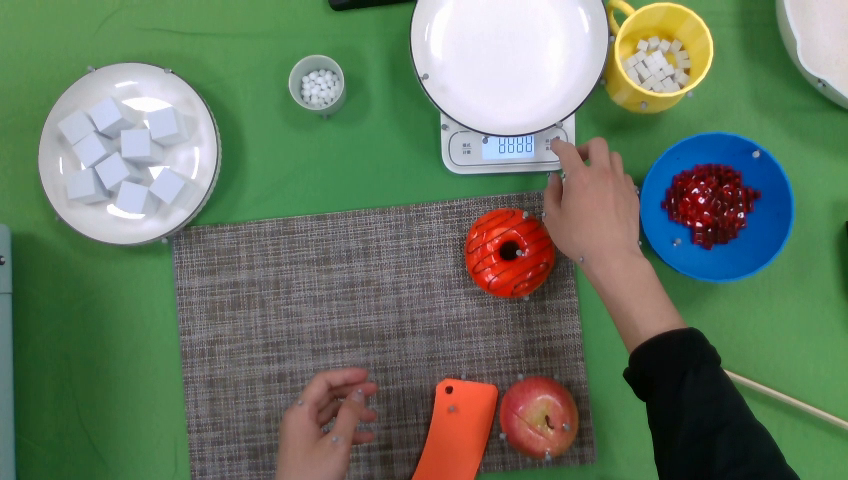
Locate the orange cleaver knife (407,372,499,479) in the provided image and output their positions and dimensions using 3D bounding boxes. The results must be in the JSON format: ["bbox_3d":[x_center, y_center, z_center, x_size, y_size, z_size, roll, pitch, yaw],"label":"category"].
[{"bbox_3d":[0.017,0.241,0.659,0.077,0.012,0.211,23,86,-2],"label":"orange cleaver knife"}]

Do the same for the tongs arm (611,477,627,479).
[{"bbox_3d":[0.395,0.267,0.637,0.385,0.026,0.050,9,84,2],"label":"tongs arm"}]

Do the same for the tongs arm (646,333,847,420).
[{"bbox_3d":[0.417,0.183,0.643,0.387,0.028,0.028,24,81,3],"label":"tongs arm"}]

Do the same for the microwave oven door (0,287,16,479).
[{"bbox_3d":[-0.479,0.223,0.560,0.039,0.244,0.355,-4,87,3],"label":"microwave oven door"}]

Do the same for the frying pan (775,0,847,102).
[{"bbox_3d":[0.563,-0.180,0.612,0.307,0.103,0.485,-33,78,2],"label":"frying pan"}]

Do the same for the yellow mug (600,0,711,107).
[{"bbox_3d":[0.235,-0.212,0.649,0.100,0.064,0.130,-39,85,2],"label":"yellow mug"}]

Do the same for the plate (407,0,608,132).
[{"bbox_3d":[0.087,-0.216,0.642,0.209,0.038,0.209,0,87,2],"label":"plate"}]

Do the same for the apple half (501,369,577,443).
[{"bbox_3d":[0.126,0.164,0.631,0.080,0.075,0.053,36,86,8],"label":"apple half"}]

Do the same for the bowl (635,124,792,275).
[{"bbox_3d":[0.288,-0.038,0.634,0.151,0.077,0.151,0,88,3],"label":"bowl"}]

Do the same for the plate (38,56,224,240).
[{"bbox_3d":[-0.326,-0.102,0.687,0.207,0.039,0.207,0,87,3],"label":"plate"}]

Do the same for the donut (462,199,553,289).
[{"bbox_3d":[0.089,0.005,0.654,0.099,0.048,0.099,0,88,5],"label":"donut"}]

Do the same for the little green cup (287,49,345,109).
[{"bbox_3d":[-0.118,-0.177,0.680,0.061,0.039,0.061,0,87,4],"label":"little green cup"}]

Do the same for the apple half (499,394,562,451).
[{"bbox_3d":[0.103,0.195,0.630,0.081,0.081,0.033,38,85,4],"label":"apple half"}]

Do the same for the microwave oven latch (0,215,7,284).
[{"bbox_3d":[-0.484,0.010,0.672,0.030,0.029,0.079,-1,88,2],"label":"microwave oven latch"}]

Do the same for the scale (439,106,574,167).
[{"bbox_3d":[0.090,-0.184,0.673,0.148,0.031,0.200,-2,88,3],"label":"scale"}]
